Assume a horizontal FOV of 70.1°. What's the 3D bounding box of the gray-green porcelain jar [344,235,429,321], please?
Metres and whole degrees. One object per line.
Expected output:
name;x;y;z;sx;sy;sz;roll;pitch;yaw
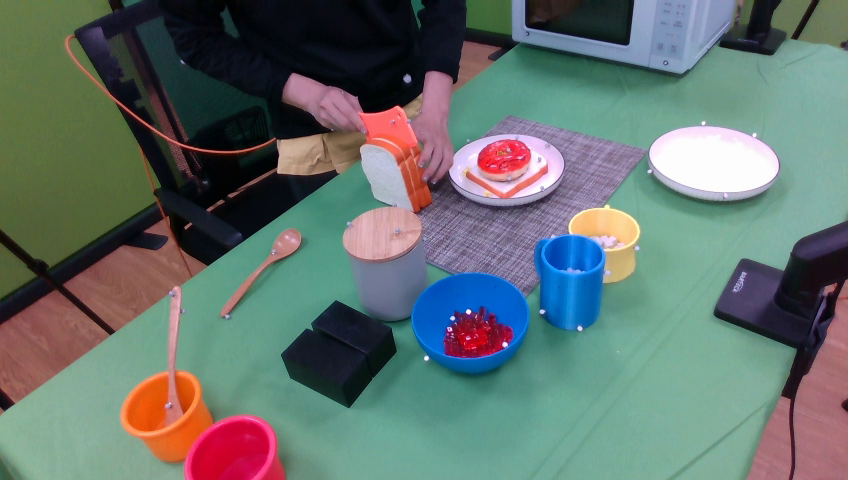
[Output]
gray-green porcelain jar;-0.049;0.042;0.849;0.106;0.127;0.105;-4;41;4

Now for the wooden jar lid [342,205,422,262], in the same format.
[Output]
wooden jar lid;-0.055;-0.005;0.808;0.108;0.021;0.108;-6;40;6

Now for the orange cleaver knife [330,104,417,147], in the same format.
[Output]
orange cleaver knife;-0.089;-0.195;1.026;0.012;0.077;0.209;-35;33;-33

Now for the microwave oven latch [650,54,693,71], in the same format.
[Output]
microwave oven latch;0.531;-0.386;1.301;0.078;0.029;0.030;26;51;33

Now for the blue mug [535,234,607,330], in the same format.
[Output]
blue mug;0.191;0.048;0.824;0.082;0.106;0.115;-26;44;-20

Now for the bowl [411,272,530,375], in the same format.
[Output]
bowl;0.061;0.120;0.780;0.151;0.077;0.150;-4;40;4

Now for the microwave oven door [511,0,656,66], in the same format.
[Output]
microwave oven door;0.351;-0.540;1.349;0.353;0.245;0.039;24;50;31

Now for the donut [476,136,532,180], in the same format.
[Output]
donut;0.140;-0.146;1.059;0.099;0.048;0.098;-7;41;6

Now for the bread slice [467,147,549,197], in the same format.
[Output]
bread slice;0.156;-0.128;1.084;0.132;0.019;0.104;-34;48;-24

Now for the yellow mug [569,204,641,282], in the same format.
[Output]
yellow mug;0.268;-0.005;0.904;0.099;0.064;0.130;7;41;15

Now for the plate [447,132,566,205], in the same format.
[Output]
plate;0.146;-0.124;1.076;0.209;0.038;0.208;-4;41;4

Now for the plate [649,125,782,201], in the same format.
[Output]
plate;0.493;-0.127;1.036;0.207;0.039;0.206;-4;41;4

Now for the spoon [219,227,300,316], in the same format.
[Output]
spoon;-0.261;0.046;0.954;0.041;0.021;0.194;27;48;10

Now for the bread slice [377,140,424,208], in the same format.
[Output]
bread slice;-0.042;-0.127;1.039;0.106;0.134;0.018;30;45;34

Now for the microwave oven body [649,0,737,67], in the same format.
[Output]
microwave oven body;0.475;-0.602;1.411;0.438;0.261;0.327;23;50;32

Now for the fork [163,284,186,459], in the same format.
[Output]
fork;-0.302;0.157;0.733;0.028;0.019;0.207;-3;84;15
